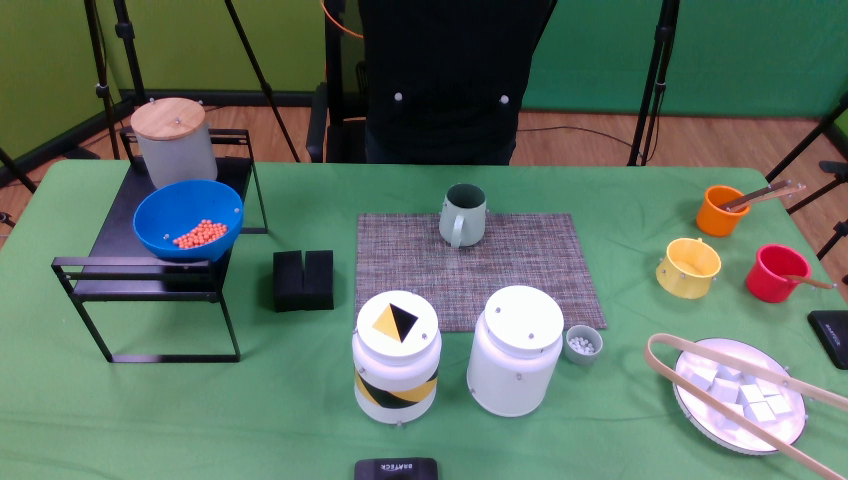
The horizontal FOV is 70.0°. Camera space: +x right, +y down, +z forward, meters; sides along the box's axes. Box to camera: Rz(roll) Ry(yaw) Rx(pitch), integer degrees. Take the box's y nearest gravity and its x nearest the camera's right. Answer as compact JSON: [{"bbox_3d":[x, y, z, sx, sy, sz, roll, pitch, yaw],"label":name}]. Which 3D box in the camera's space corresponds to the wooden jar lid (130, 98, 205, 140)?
[{"bbox_3d":[-0.393,-0.183,0.934,0.108,0.021,0.107,3,44,-2],"label":"wooden jar lid"}]

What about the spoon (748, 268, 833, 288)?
[{"bbox_3d":[0.660,0.068,1.097,0.041,0.193,0.021,-4,91,-6],"label":"spoon"}]

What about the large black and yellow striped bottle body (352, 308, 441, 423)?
[{"bbox_3d":[-0.042,0.178,0.913,0.131,0.185,0.130,2,46,-2],"label":"large black and yellow striped bottle body"}]

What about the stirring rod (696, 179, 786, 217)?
[{"bbox_3d":[0.648,-0.086,1.243,0.176,0.006,0.014,-25,48,29],"label":"stirring rod"}]

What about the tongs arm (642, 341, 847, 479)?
[{"bbox_3d":[0.504,0.278,0.917,0.386,0.028,0.028,34,58,22],"label":"tongs arm"}]

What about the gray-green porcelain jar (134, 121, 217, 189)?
[{"bbox_3d":[-0.397,-0.141,0.980,0.106,0.127,0.105,2,47,-2],"label":"gray-green porcelain jar"}]

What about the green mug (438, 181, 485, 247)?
[{"bbox_3d":[0.071,-0.039,1.178,0.092,0.105,0.124,12,47,7],"label":"green mug"}]

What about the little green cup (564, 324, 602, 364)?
[{"bbox_3d":[0.269,0.179,1.035,0.061,0.039,0.061,3,45,-2],"label":"little green cup"}]

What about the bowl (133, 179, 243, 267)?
[{"bbox_3d":[-0.339,-0.013,0.895,0.151,0.077,0.150,2,46,-2],"label":"bowl"}]

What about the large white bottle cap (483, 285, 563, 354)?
[{"bbox_3d":[0.142,0.112,0.871,0.115,0.018,0.114,3,46,-2],"label":"large white bottle cap"}]

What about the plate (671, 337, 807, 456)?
[{"bbox_3d":[0.503,0.254,0.984,0.208,0.039,0.206,2,46,-2],"label":"plate"}]

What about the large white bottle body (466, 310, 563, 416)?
[{"bbox_3d":[0.138,0.171,0.932,0.131,0.185,0.130,2,46,-2],"label":"large white bottle body"}]

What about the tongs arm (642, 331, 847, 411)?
[{"bbox_3d":[0.546,0.227,0.968,0.384,0.026,0.050,22,52,13],"label":"tongs arm"}]

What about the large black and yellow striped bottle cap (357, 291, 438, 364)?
[{"bbox_3d":[-0.037,0.121,0.851,0.115,0.019,0.114,1,46,-1],"label":"large black and yellow striped bottle cap"}]

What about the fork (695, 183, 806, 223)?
[{"bbox_3d":[0.658,-0.075,1.229,0.207,0.019,0.028,-25,36,36],"label":"fork"}]

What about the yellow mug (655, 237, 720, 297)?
[{"bbox_3d":[0.509,0.041,1.167,0.099,0.064,0.130,24,48,18],"label":"yellow mug"}]
